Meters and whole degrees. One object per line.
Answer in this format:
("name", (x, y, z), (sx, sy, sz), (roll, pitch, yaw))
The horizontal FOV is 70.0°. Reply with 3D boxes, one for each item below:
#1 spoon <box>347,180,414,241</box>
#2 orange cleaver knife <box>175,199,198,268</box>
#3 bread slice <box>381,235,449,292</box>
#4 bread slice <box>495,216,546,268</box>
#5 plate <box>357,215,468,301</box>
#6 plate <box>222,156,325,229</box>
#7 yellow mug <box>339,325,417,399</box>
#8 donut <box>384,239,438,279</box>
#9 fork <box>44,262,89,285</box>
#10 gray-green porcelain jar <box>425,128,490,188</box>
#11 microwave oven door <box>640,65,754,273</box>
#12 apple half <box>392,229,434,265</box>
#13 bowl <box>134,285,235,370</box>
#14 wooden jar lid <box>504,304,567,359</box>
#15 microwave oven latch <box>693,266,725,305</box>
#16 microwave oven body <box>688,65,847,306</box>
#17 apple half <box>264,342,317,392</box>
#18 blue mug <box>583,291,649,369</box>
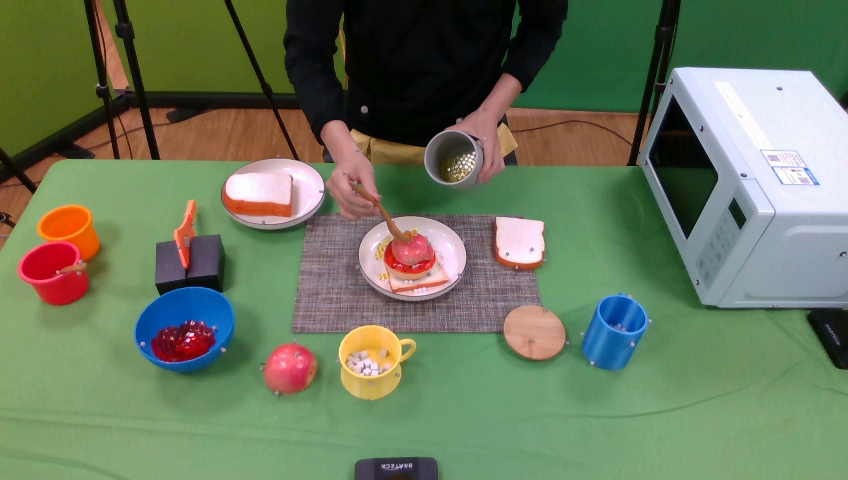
("spoon", (-0.070, -0.045, 0.979), (0.041, 0.195, 0.021), (23, 72, 38))
("orange cleaver knife", (-0.438, -0.017, 1.138), (0.012, 0.077, 0.210), (-13, 27, -7))
("bread slice", (-0.027, 0.039, 1.140), (0.107, 0.018, 0.133), (-12, 48, -15))
("bread slice", (0.194, 0.002, 1.204), (0.105, 0.019, 0.131), (5, 45, 2))
("plate", (-0.022, 0.037, 1.141), (0.208, 0.039, 0.206), (2, 46, -2))
("plate", (-0.308, -0.095, 1.251), (0.209, 0.038, 0.208), (2, 47, -2))
("yellow mug", (-0.072, 0.190, 0.978), (0.131, 0.064, 0.099), (-17, 50, -20))
("donut", (-0.025, 0.029, 1.110), (0.099, 0.048, 0.098), (2, 46, -2))
("fork", (-0.598, 0.054, 1.014), (0.207, 0.019, 0.028), (-15, 28, 45))
("gray-green porcelain jar", (0.070, -0.156, 1.182), (0.105, 0.106, 0.127), (22, 7, 17))
("microwave oven door", (0.523, -0.147, 1.193), (0.039, 0.245, 0.353), (0, 47, -3))
("apple half", (-0.021, 0.004, 1.083), (0.081, 0.033, 0.081), (7, 48, -7))
("bowl", (-0.377, 0.155, 0.981), (0.151, 0.077, 0.150), (2, 46, -2))
("wooden jar lid", (0.192, 0.161, 1.051), (0.108, 0.021, 0.107), (3, 50, -3))
("microwave oven latch", (0.523, 0.082, 1.115), (0.030, 0.029, 0.078), (3, 46, 0))
("microwave oven body", (0.669, -0.111, 1.176), (0.326, 0.261, 0.439), (0, 46, -3))
("apple half", (-0.214, 0.198, 0.970), (0.074, 0.053, 0.080), (19, 48, 10))
("blue mug", (0.324, 0.142, 1.023), (0.082, 0.106, 0.116), (15, 47, 11))
